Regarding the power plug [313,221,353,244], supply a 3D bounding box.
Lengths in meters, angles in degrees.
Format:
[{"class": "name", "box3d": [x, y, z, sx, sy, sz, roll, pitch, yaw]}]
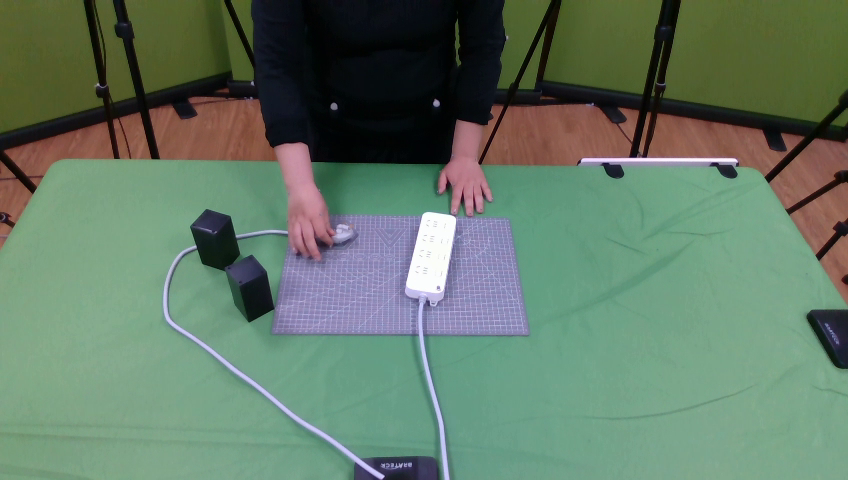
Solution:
[{"class": "power plug", "box3d": [-0.175, -0.020, 1.188, 0.072, 0.035, 0.052, 18, 49, 7]}]

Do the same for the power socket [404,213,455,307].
[{"class": "power socket", "box3d": [0.013, 0.029, 1.159, 0.072, 0.033, 0.225, 8, 46, 5]}]
